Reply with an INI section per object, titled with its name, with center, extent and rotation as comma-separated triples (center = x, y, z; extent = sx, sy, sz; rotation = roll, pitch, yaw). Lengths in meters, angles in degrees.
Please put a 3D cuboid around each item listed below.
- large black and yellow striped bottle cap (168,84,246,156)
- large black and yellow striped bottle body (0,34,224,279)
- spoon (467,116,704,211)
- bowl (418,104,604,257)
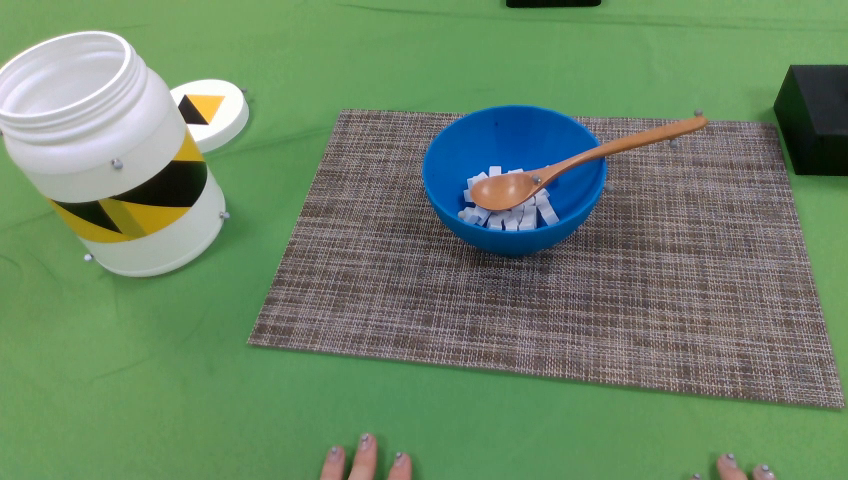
[large black and yellow striped bottle cap]
center = -0.262, -0.138, 0.690
extent = 0.115, 0.019, 0.114
rotation = -2, 51, 3
[large black and yellow striped bottle body]
center = -0.266, -0.068, 0.525
extent = 0.131, 0.186, 0.129
rotation = -4, 51, 5
[spoon]
center = 0.128, -0.064, 0.491
extent = 0.193, 0.022, 0.041
rotation = -20, 47, 15
[bowl]
center = 0.073, -0.039, 0.522
extent = 0.151, 0.077, 0.150
rotation = -3, 52, 4
